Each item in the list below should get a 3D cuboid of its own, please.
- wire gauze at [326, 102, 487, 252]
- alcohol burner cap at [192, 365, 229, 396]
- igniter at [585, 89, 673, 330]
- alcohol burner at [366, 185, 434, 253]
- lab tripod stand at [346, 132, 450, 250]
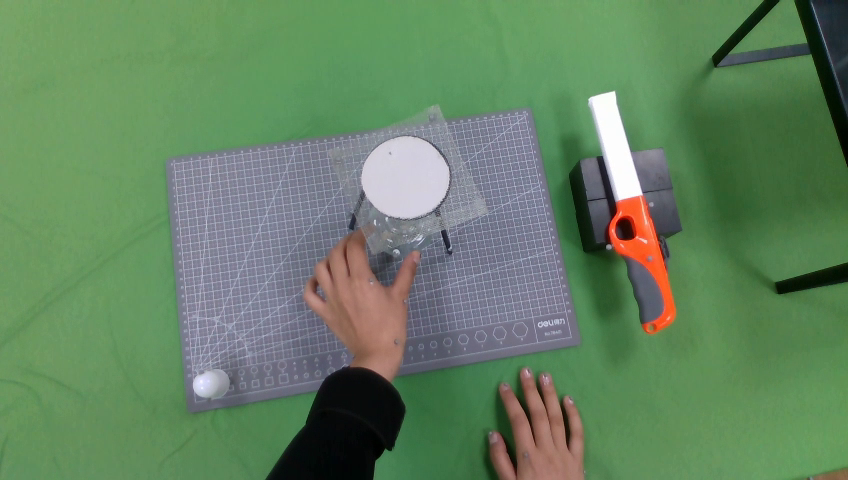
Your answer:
[{"bbox_3d":[-0.018,-0.063,0.595,0.125,0.011,0.121,-22,80,-6],"label":"wire gauze"},{"bbox_3d":[-0.235,0.152,0.658,0.034,0.048,0.033,0,76,0],"label":"alcohol burner cap"},{"bbox_3d":[0.228,-0.038,0.678,0.057,0.025,0.275,-12,79,7],"label":"igniter"},{"bbox_3d":[-0.027,-0.027,0.666,0.078,0.119,0.077,0,80,-2],"label":"alcohol burner"},{"bbox_3d":[-0.021,-0.056,0.662,0.148,0.132,0.147,0,77,-1],"label":"lab tripod stand"}]
